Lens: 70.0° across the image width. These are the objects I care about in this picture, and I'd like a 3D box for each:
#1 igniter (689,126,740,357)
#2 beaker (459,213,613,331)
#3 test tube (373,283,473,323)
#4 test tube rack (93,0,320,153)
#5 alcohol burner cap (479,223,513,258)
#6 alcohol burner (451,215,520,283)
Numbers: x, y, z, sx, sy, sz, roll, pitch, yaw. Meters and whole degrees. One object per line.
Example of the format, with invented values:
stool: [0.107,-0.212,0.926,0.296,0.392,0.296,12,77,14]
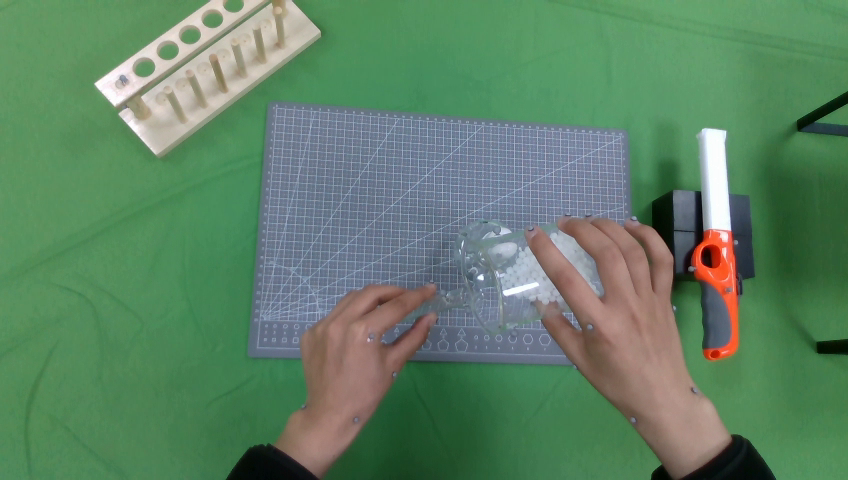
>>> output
igniter: [0.336,-0.002,0.705,0.057,0.025,0.275,6,76,-5]
beaker: [0.086,0.023,0.470,0.100,0.084,0.073,-13,79,-15]
test tube: [-0.006,0.059,0.552,0.017,0.150,0.017,10,71,-32]
test tube rack: [-0.231,-0.209,0.677,0.242,0.085,0.066,-42,87,-14]
alcohol burner cap: [0.077,-0.001,0.629,0.034,0.048,0.033,1,80,-4]
alcohol burner: [0.072,0.006,0.664,0.078,0.119,0.077,2,76,-9]
